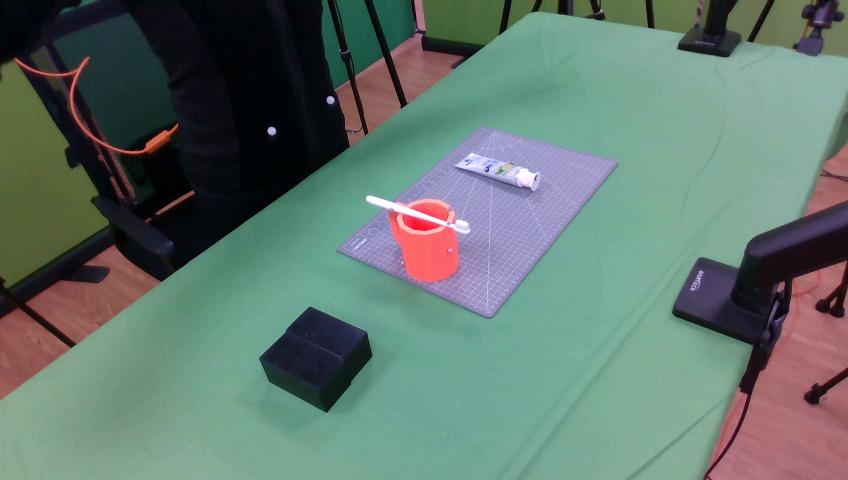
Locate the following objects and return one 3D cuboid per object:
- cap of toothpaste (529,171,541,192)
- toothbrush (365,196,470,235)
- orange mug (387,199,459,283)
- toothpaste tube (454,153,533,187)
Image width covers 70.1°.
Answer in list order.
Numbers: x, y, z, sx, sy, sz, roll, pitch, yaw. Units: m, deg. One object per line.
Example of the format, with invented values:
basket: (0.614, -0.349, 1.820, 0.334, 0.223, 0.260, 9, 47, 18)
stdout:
cap of toothpaste: (0.193, -0.103, 1.054, 0.011, 0.037, 0.037, 19, 47, 25)
toothbrush: (-0.013, -0.039, 0.880, 0.180, 0.017, 0.014, 18, 50, 27)
orange mug: (-0.006, -0.007, 0.923, 0.125, 0.101, 0.084, 32, 54, 32)
toothpaste tube: (0.134, -0.130, 1.104, 0.163, 0.034, 0.055, 24, 44, 37)
